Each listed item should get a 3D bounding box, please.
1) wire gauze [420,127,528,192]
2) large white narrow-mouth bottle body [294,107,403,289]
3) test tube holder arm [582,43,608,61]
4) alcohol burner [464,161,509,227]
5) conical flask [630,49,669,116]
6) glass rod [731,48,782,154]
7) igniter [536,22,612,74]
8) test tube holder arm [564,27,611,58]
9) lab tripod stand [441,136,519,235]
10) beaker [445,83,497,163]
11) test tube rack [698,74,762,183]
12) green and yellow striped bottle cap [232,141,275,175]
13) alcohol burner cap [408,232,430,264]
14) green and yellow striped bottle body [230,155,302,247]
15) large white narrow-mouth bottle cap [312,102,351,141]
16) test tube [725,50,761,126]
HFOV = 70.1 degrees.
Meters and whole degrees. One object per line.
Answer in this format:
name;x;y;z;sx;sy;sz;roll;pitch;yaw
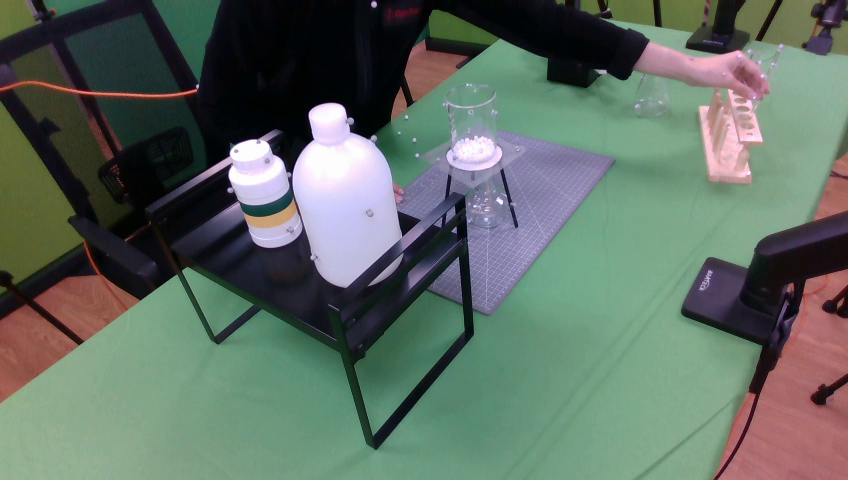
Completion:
wire gauze;0.076;-0.131;0.927;0.122;0.011;0.124;-34;49;-25
large white narrow-mouth bottle body;-0.082;-0.047;0.634;0.102;0.195;0.101;-4;39;4
test tube holder arm;0.379;-0.420;1.341;0.010;0.015;0.087;-40;41;11
alcohol burner;0.102;-0.080;0.982;0.078;0.119;0.077;-4;43;4
conical flask;0.457;-0.316;1.205;0.075;0.122;0.075;-4;41;4
glass rod;0.554;-0.228;1.014;0.008;0.200;0.008;1;44;-1
igniter;0.330;-0.438;1.366;0.057;0.025;0.274;-11;41;-19
test tube holder arm;0.368;-0.450;1.373;0.013;0.015;0.177;-41;41;10
lab tripod stand;0.083;-0.086;0.976;0.148;0.132;0.147;-4;43;4
beaker;0.073;-0.174;0.904;0.074;0.101;0.084;3;41;13
test tube rack;0.547;-0.208;1.094;0.066;0.085;0.242;6;42;15
green and yellow striped bottle cap;-0.192;-0.093;0.680;0.045;0.020;0.045;-5;39;5
alcohol burner cap;-0.010;0.010;0.947;0.034;0.048;0.033;-4;41;4
green and yellow striped bottle body;-0.188;-0.055;0.714;0.063;0.120;0.063;-4;41;4
large white narrow-mouth bottle cap;-0.089;-0.113;0.579;0.038;0.024;0.037;-4;39;3
test tube;0.570;-0.269;1.085;0.017;0.151;0.017;-1;45;2
